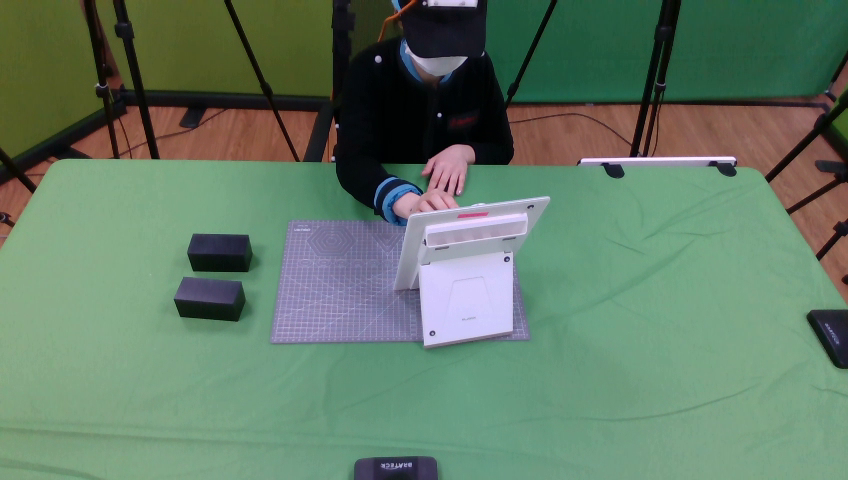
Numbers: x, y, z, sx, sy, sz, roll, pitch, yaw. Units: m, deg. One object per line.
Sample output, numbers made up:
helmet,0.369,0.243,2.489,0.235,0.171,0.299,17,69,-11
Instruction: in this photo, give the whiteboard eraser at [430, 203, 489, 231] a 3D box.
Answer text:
whiteboard eraser,0.055,-0.036,0.962,0.101,0.041,0.018,-19,70,30

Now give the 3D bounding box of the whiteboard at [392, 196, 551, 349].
whiteboard,0.077,0.071,0.977,0.217,0.306,0.143,-7,67,-11
